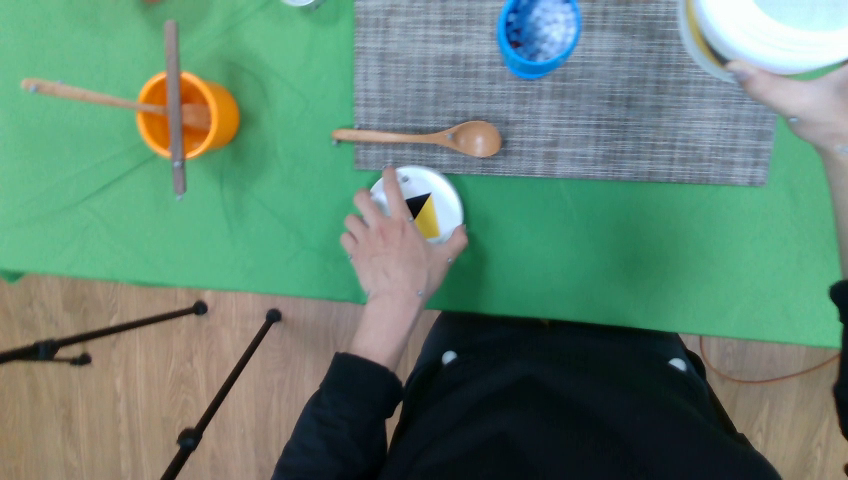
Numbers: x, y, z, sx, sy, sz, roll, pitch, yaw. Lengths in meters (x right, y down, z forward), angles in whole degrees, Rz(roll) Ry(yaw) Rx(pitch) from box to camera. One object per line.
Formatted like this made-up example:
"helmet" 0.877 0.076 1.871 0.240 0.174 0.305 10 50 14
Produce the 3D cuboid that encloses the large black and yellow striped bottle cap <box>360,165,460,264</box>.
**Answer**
"large black and yellow striped bottle cap" -0.016 -0.028 0.697 0.115 0.018 0.115 2 106 6

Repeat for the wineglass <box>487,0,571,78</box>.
"wineglass" 0.095 -0.189 0.563 0.073 0.172 0.074 1 102 7

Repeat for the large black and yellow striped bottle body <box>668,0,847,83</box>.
"large black and yellow striped bottle body" 0.244 -0.182 0.416 0.130 0.184 0.131 3 101 17

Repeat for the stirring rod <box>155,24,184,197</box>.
"stirring rod" -0.266 -0.132 0.633 0.014 0.006 0.177 2 104 8

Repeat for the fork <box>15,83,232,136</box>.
"fork" -0.307 -0.138 0.641 0.209 0.018 0.028 4 114 -38

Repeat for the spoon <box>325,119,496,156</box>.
"spoon" -0.017 -0.115 0.671 0.193 0.021 0.042 2 123 7

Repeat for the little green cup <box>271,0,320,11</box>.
"little green cup" -0.137 -0.275 0.645 0.061 0.038 0.062 2 103 8
